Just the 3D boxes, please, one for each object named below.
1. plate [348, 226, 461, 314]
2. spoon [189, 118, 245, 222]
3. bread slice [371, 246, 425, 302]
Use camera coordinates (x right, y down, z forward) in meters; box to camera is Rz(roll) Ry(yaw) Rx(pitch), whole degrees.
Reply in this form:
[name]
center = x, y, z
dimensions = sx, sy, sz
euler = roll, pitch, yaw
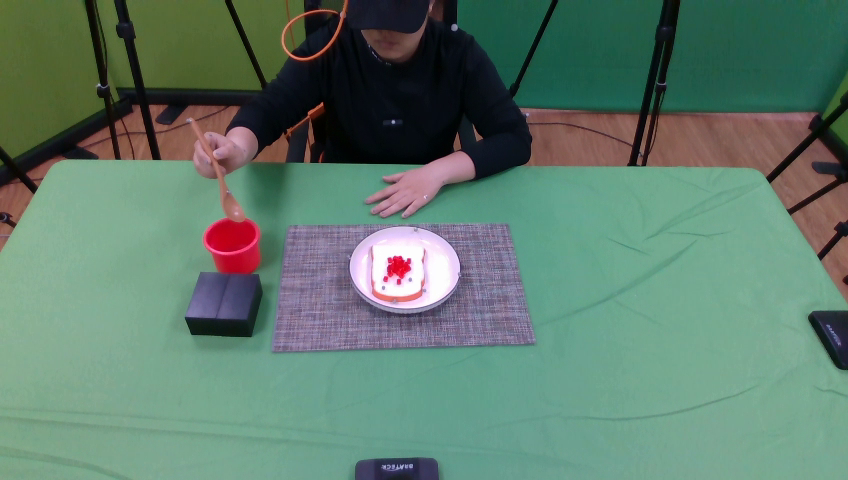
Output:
[plate]
center = -0.035, 0.058, 1.123
dimensions = 0.209, 0.038, 0.208
euler = 2, 46, -2
[spoon]
center = -0.358, -0.119, 1.049
dimensions = 0.021, 0.194, 0.041
euler = -7, 21, 26
[bread slice]
center = -0.048, 0.060, 1.123
dimensions = 0.105, 0.019, 0.130
euler = 0, 45, -3
